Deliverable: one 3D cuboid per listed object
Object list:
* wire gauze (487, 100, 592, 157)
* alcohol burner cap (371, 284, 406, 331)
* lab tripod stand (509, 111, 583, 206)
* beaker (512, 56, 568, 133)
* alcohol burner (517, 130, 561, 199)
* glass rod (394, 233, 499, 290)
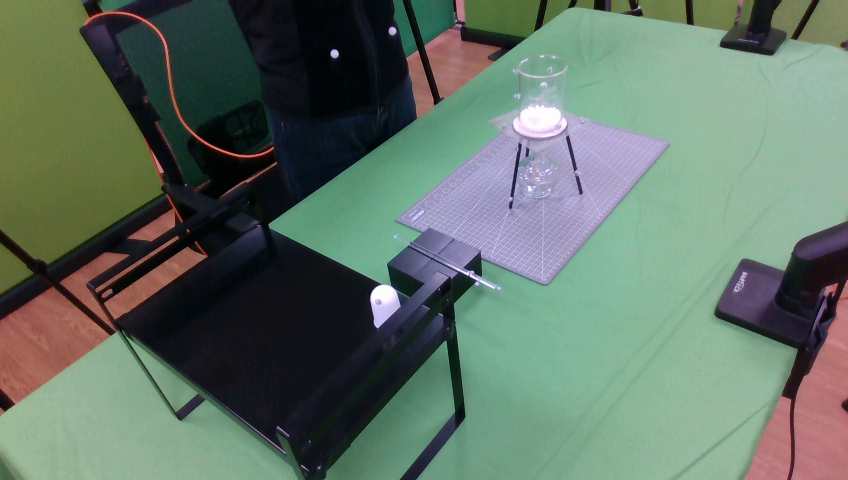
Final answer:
[{"bbox_3d":[0.185,-0.187,0.974,0.122,0.011,0.124,-28,47,-22],"label":"wire gauze"},{"bbox_3d":[-0.037,0.065,0.608,0.034,0.048,0.033,-4,41,4],"label":"alcohol burner cap"},{"bbox_3d":[0.198,-0.139,1.019,0.148,0.132,0.147,-3,39,3],"label":"lab tripod stand"},{"bbox_3d":[0.181,-0.225,0.946,0.084,0.101,0.074,3,41,12],"label":"beaker"},{"bbox_3d":[0.193,-0.131,1.026,0.078,0.119,0.077,-4,38,4],"label":"alcohol burner"},{"bbox_3d":[0.027,0.029,0.874,0.198,0.008,0.008,27,51,34],"label":"glass rod"}]
